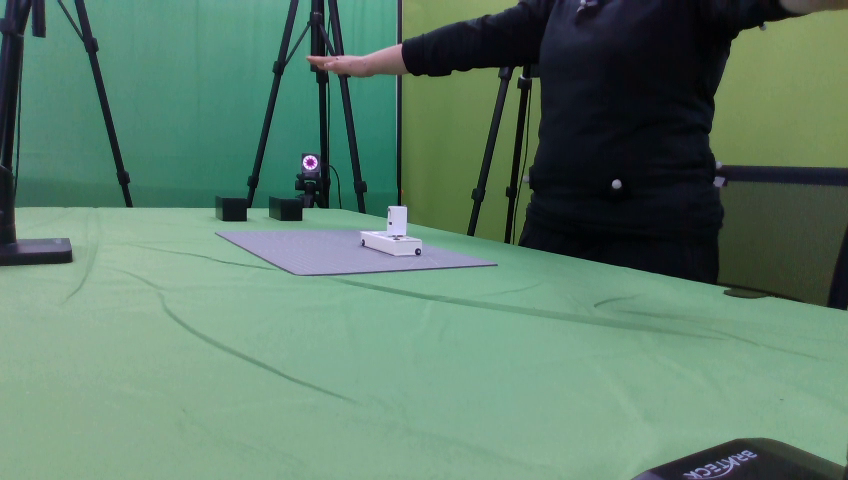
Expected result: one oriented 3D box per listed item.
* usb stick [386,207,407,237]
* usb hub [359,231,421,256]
[{"bbox_3d":[-0.043,-0.022,0.937,0.027,0.059,0.021,-5,10,-34],"label":"usb stick"},{"bbox_3d":[-0.056,0.004,0.954,0.050,0.025,0.124,-2,8,-31],"label":"usb hub"}]
